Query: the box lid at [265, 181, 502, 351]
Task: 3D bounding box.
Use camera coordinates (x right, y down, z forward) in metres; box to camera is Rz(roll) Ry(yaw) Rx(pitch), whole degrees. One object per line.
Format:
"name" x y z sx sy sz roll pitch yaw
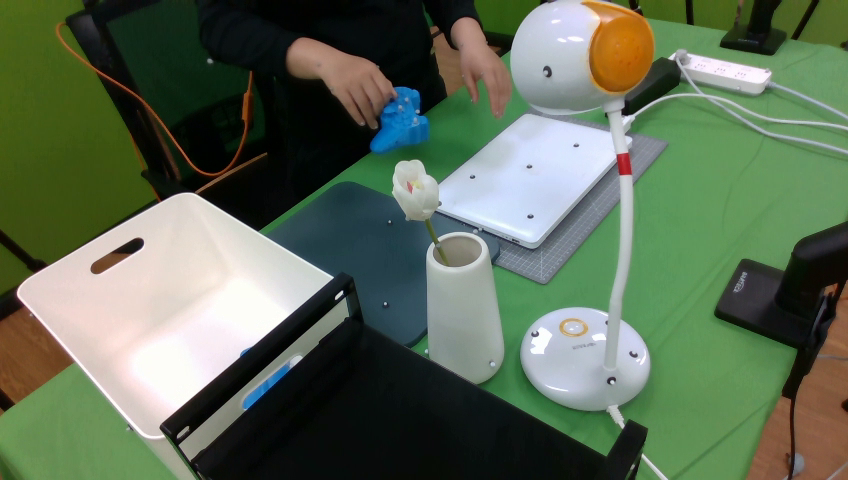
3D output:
"box lid" -0.087 0.023 0.971 0.368 0.015 0.264 23 49 31

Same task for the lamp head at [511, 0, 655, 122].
"lamp head" 0.155 -0.168 0.563 0.113 0.113 0.122 -18 23 -12

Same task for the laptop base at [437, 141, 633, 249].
"laptop base" 0.193 -0.117 1.087 0.233 0.023 0.355 21 48 34

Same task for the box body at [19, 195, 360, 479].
"box body" -0.288 0.118 0.772 0.361 0.161 0.255 26 50 33

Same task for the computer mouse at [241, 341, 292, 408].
"computer mouse" -0.201 0.177 0.776 0.063 0.041 0.116 -11 44 -8

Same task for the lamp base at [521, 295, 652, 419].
"lamp base" 0.201 0.095 0.710 0.161 0.181 0.178 -16 43 -10

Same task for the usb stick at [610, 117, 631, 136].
"usb stick" 0.369 -0.208 1.147 0.021 0.027 0.059 25 55 33

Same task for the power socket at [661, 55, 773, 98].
"power socket" 0.619 -0.352 1.289 0.225 0.033 0.072 26 51 33

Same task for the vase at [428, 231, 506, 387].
"vase" 0.050 0.087 0.728 0.098 0.201 0.097 -3 40 3

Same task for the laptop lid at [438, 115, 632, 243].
"laptop lid" 0.189 -0.126 1.081 0.239 0.013 0.358 23 49 35

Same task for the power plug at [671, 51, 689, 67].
"power plug" 0.541 -0.378 1.301 0.073 0.053 0.035 -33 46 -24

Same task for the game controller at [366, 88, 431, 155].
"game controller" -0.043 -0.200 0.978 0.097 0.052 0.154 -8 40 -4

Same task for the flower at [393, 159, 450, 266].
"flower" 0.028 0.035 0.664 0.043 0.364 0.038 34 72 29
